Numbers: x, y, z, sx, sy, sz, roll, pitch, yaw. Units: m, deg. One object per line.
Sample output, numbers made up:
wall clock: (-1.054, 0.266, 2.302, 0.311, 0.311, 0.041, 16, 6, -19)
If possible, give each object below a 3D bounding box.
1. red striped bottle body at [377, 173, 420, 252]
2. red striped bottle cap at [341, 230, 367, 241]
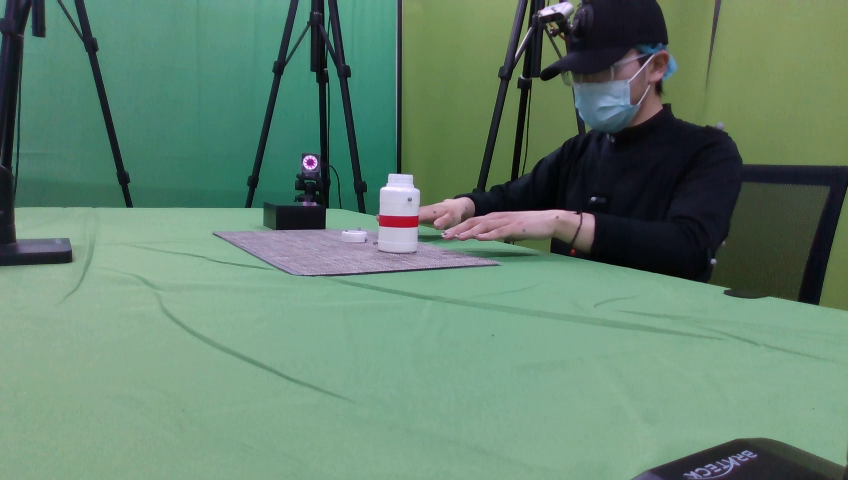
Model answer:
red striped bottle body: (-0.039, -0.044, 0.936, 0.063, 0.119, 0.063, 3, 7, 0)
red striped bottle cap: (-0.120, -0.008, 1.034, 0.044, 0.017, 0.044, -2, 2, 0)
